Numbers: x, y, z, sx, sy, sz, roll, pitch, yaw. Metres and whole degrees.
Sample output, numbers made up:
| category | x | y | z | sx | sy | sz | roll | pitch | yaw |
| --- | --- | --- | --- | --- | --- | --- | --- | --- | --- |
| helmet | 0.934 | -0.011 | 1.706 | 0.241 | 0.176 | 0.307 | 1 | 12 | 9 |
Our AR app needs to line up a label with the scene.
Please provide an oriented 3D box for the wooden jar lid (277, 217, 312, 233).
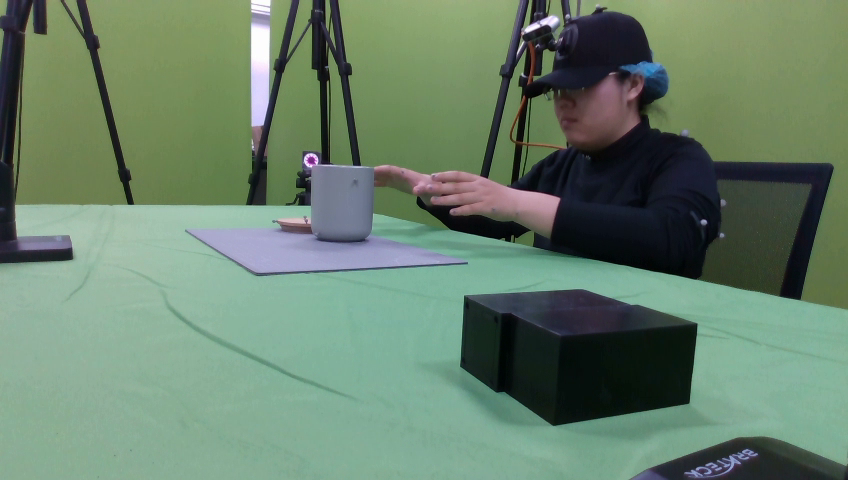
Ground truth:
| category | x | y | z | sx | sy | sz | roll | pitch | yaw |
| --- | --- | --- | --- | --- | --- | --- | --- | --- | --- |
| wooden jar lid | -0.221 | -0.028 | 1.138 | 0.108 | 0.020 | 0.108 | 2 | 8 | 0 |

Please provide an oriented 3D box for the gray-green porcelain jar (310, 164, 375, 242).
| category | x | y | z | sx | sy | sz | roll | pitch | yaw |
| --- | --- | --- | --- | --- | --- | --- | --- | --- | --- |
| gray-green porcelain jar | -0.139 | -0.064 | 1.025 | 0.106 | 0.126 | 0.106 | 3 | 8 | 0 |
